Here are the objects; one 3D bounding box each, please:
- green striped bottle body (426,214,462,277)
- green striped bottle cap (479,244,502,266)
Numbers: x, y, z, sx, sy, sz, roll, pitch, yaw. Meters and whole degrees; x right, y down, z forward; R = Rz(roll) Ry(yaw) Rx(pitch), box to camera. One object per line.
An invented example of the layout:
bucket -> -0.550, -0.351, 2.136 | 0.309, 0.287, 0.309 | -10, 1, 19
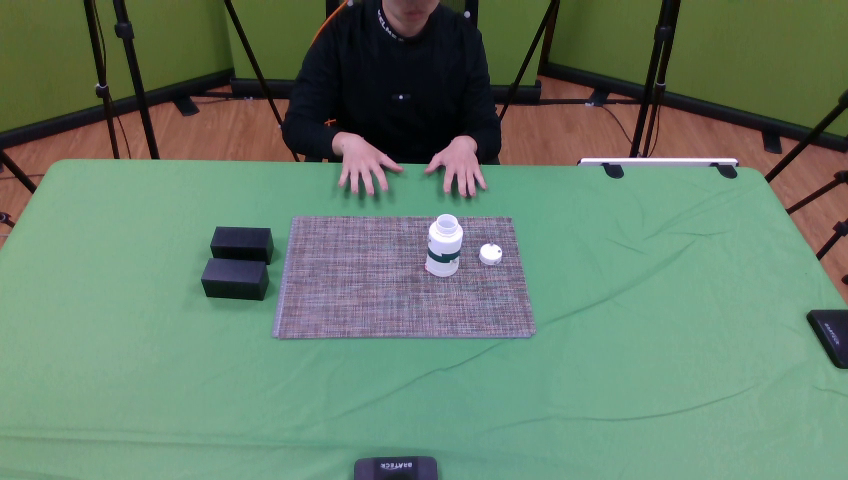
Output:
green striped bottle body -> 0.037, 0.008, 1.121 | 0.063, 0.120, 0.063 | 2, 46, -2
green striped bottle cap -> 0.130, 0.029, 1.181 | 0.044, 0.020, 0.044 | 0, 46, 0
